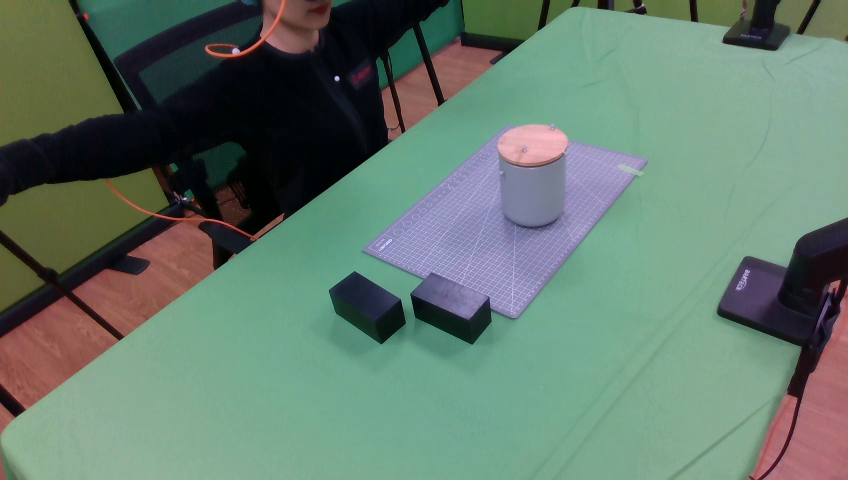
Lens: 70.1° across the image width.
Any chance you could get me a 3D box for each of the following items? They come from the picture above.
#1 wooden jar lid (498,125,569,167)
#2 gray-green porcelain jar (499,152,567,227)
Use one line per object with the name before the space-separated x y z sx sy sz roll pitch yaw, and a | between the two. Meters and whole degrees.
wooden jar lid | 0.168 -0.143 0.933 0.108 0.021 0.108 -5 41 4
gray-green porcelain jar | 0.177 -0.093 0.974 0.106 0.127 0.105 -5 40 5
